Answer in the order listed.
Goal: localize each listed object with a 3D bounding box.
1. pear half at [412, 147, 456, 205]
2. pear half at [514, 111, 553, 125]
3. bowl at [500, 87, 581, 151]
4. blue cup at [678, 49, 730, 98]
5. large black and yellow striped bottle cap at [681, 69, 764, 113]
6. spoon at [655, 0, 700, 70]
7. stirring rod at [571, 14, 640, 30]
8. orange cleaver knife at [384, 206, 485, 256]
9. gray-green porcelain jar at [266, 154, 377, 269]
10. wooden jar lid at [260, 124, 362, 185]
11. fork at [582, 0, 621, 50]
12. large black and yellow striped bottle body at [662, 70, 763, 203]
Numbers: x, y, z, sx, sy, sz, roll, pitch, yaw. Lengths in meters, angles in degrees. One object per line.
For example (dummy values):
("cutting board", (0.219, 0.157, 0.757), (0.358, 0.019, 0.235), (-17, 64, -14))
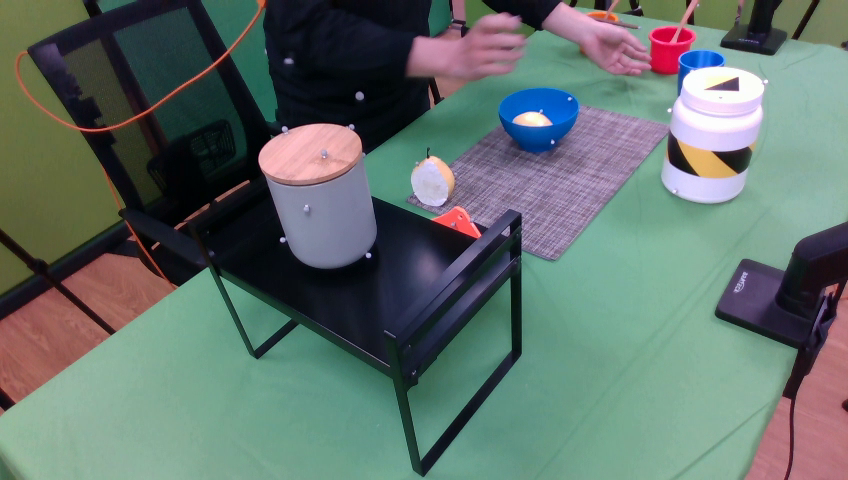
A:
("pear half", (0.019, -0.120, 1.042), (0.076, 0.110, 0.056), (11, 44, 16))
("pear half", (0.214, -0.226, 1.149), (0.087, 0.031, 0.070), (12, 49, 14))
("bowl", (0.220, -0.223, 1.155), (0.151, 0.077, 0.150), (-4, 40, 4))
("blue cup", (0.542, -0.310, 1.194), (0.092, 0.101, 0.092), (-6, 41, 6))
("large black and yellow striped bottle cap", (0.453, -0.229, 0.921), (0.115, 0.019, 0.114), (-4, 39, 4))
("spoon", (0.568, -0.463, 1.337), (0.041, 0.022, 0.193), (30, 97, 37))
("stirring rod", (0.418, -0.508, 1.404), (0.174, 0.006, 0.014), (28, 55, 35))
("orange cleaver knife", (0.012, -0.009, 0.942), (0.012, 0.077, 0.210), (-37, 19, -35))
("gray-green porcelain jar", (-0.112, -0.039, 0.685), (0.106, 0.127, 0.105), (-4, 40, 4))
("wooden jar lid", (-0.119, -0.088, 0.645), (0.108, 0.021, 0.108), (-4, 40, 4))
("fork", (0.446, -0.539, 1.438), (0.207, 0.019, 0.028), (-57, 36, 12))
("large black and yellow striped bottle body", (0.464, -0.166, 0.976), (0.131, 0.185, 0.130), (-5, 41, 5))
